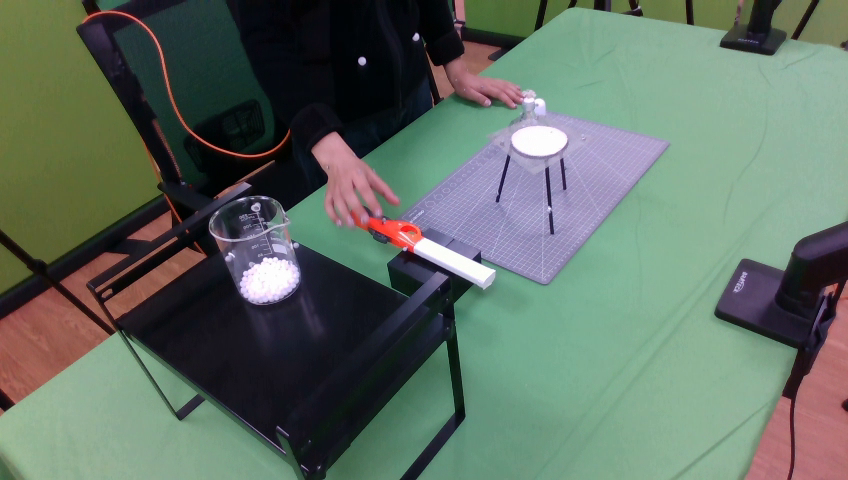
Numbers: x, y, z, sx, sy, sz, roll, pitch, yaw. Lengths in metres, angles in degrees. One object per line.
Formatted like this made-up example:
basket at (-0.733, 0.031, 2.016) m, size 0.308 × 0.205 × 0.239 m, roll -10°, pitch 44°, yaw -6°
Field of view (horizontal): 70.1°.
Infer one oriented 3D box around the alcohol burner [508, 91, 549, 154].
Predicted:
alcohol burner at (0.196, -0.223, 1.134) m, size 0.078 × 0.119 × 0.077 m, roll -6°, pitch 39°, yaw 5°

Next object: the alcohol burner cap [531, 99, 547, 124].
alcohol burner cap at (0.234, -0.264, 1.231) m, size 0.034 × 0.048 × 0.033 m, roll -5°, pitch 41°, yaw 5°

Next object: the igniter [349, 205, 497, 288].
igniter at (-0.013, 0.003, 0.897) m, size 0.274 × 0.025 × 0.057 m, roll 25°, pitch 46°, yaw 32°

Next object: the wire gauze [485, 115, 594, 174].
wire gauze at (0.177, -0.154, 0.935) m, size 0.122 × 0.011 × 0.124 m, roll -26°, pitch 45°, yaw -21°

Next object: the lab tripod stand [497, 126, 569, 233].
lab tripod stand at (0.188, -0.104, 0.979) m, size 0.148 × 0.132 × 0.147 m, roll -3°, pitch 41°, yaw 3°

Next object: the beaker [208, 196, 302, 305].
beaker at (-0.173, 0.014, 0.647) m, size 0.084 × 0.101 × 0.073 m, roll -1°, pitch 41°, yaw 8°
